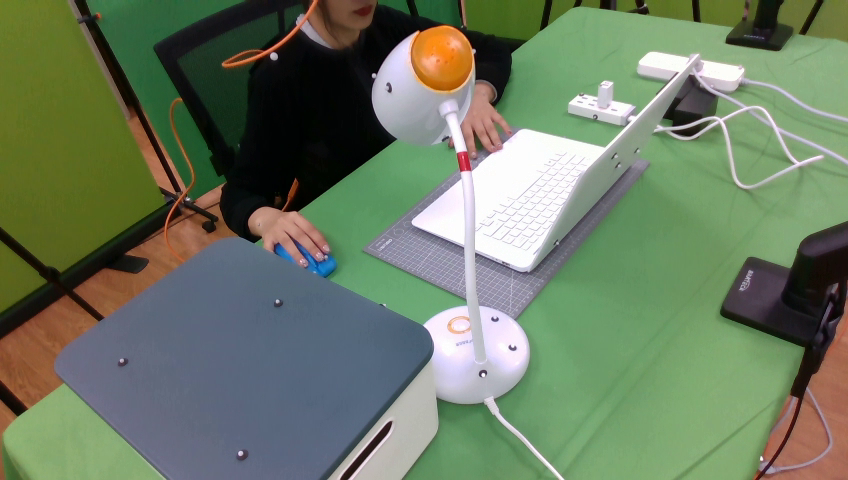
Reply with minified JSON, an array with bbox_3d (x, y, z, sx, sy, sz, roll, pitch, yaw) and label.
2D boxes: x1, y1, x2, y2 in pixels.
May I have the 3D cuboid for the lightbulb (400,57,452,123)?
[{"bbox_3d":[0.003,-0.169,0.669,0.059,0.108,0.059,0,79,-1],"label":"lightbulb"}]

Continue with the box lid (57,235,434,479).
[{"bbox_3d":[-0.198,0.123,0.653,0.368,0.015,0.264,22,49,32],"label":"box lid"}]

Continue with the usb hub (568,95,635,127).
[{"bbox_3d":[0.360,-0.263,1.228,0.124,0.025,0.049,24,49,33],"label":"usb hub"}]

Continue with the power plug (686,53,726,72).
[{"bbox_3d":[0.584,-0.361,1.260,0.072,0.053,0.035,14,55,16],"label":"power plug"}]

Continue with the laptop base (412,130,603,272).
[{"bbox_3d":[0.176,-0.083,1.055,0.233,0.023,0.355,21,48,36],"label":"laptop base"}]

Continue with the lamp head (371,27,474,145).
[{"bbox_3d":[0.007,-0.167,0.644,0.113,0.112,0.122,-22,2,-14],"label":"lamp head"}]

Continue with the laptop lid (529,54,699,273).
[{"bbox_3d":[0.283,-0.114,0.897,0.013,0.242,0.358,38,55,17],"label":"laptop lid"}]

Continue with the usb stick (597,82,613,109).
[{"bbox_3d":[0.360,-0.281,1.204,0.021,0.059,0.027,23,49,33],"label":"usb stick"}]

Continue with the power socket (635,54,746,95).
[{"bbox_3d":[0.564,-0.357,1.293,0.225,0.033,0.072,24,51,33],"label":"power socket"}]

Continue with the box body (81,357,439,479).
[{"bbox_3d":[-0.189,0.179,0.702,0.361,0.161,0.255,22,49,32],"label":"box body"}]

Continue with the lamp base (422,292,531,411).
[{"bbox_3d":[0.054,0.095,0.740,0.161,0.181,0.177,-19,43,-11],"label":"lamp base"}]

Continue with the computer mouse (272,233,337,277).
[{"bbox_3d":[-0.197,0.028,0.983,0.063,0.041,0.116,-34,48,-29],"label":"computer mouse"}]
